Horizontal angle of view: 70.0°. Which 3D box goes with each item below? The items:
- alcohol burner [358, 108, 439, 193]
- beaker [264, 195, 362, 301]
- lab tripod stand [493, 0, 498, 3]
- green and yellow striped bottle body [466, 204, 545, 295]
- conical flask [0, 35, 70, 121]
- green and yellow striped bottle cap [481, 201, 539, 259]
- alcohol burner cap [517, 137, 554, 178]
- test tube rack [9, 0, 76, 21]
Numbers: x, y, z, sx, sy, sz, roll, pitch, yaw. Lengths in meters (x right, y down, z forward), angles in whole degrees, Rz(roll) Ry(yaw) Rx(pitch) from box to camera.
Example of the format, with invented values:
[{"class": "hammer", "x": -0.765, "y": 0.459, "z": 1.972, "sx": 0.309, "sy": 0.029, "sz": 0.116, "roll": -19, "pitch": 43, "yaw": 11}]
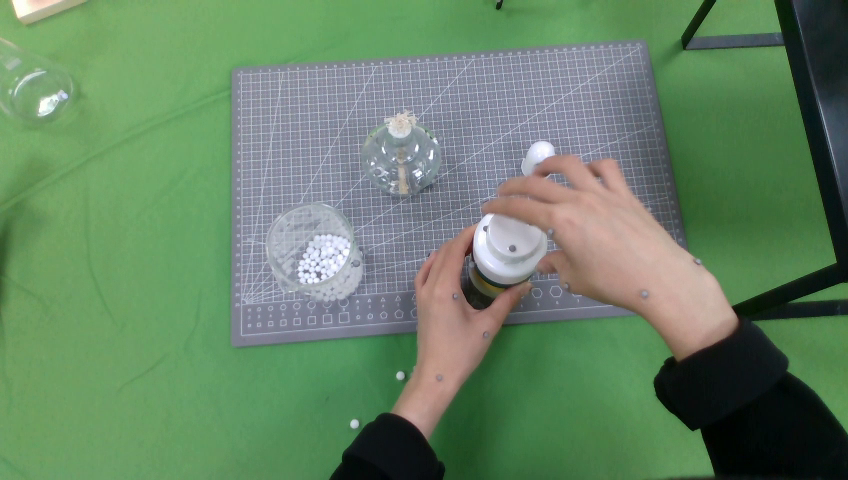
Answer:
[{"class": "alcohol burner", "x": -0.024, "y": -0.089, "z": 0.569, "sx": 0.078, "sy": 0.119, "sz": 0.077, "roll": 0, "pitch": 73, "yaw": -1}, {"class": "beaker", "x": -0.097, "y": 0.015, "z": 0.548, "sx": 0.074, "sy": 0.101, "sz": 0.083, "roll": 25, "pitch": 77, "yaw": 8}, {"class": "lab tripod stand", "x": 0.137, "y": -0.325, "z": 0.626, "sx": 0.148, "sy": 0.132, "sz": 0.147, "roll": 0, "pitch": 73, "yaw": -1}, {"class": "green and yellow striped bottle body", "x": 0.071, "y": 0.008, "z": 0.540, "sx": 0.063, "sy": 0.120, "sz": 0.063, "roll": 0, "pitch": 74, "yaw": 1}, {"class": "conical flask", "x": -0.414, "y": -0.175, "z": 0.590, "sx": 0.075, "sy": 0.122, "sz": 0.075, "roll": 0, "pitch": 74, "yaw": 1}, {"class": "green and yellow striped bottle cap", "x": 0.069, "y": -0.008, "z": 0.487, "sx": 0.045, "sy": 0.020, "sz": 0.045, "roll": 0, "pitch": 76, "yaw": -1}, {"class": "alcohol burner cap", "x": 0.113, "y": -0.085, "z": 0.605, "sx": 0.034, "sy": 0.048, "sz": 0.033, "roll": 0, "pitch": 74, "yaw": -1}, {"class": "test tube rack", "x": -0.352, "y": -0.332, "z": 0.652, "sx": 0.242, "sy": 0.085, "sz": 0.066, "roll": -25, "pitch": 76, "yaw": -7}]
